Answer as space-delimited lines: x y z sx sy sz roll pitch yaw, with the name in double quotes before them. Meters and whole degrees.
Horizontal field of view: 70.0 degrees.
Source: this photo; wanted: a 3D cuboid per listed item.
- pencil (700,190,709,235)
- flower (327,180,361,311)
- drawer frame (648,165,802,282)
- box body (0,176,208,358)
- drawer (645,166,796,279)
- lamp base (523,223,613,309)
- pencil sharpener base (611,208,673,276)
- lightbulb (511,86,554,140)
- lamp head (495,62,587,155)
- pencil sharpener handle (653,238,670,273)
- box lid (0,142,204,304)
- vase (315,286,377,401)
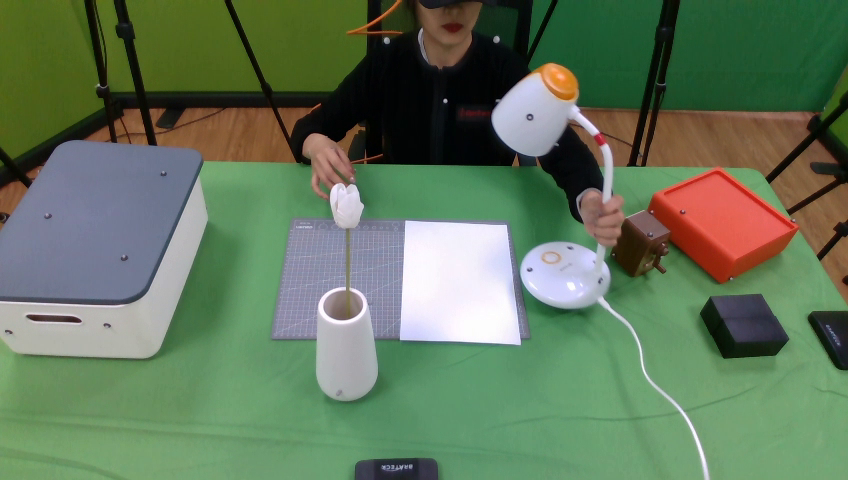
"pencil" 0.583 -0.058 1.257 0.012 0.012 0.193 16 35 12
"flower" -0.110 0.086 0.867 0.044 0.363 0.038 22 33 35
"drawer frame" 0.603 -0.040 1.233 0.202 0.083 0.212 -21 51 -23
"box body" -0.546 0.017 1.045 0.254 0.161 0.361 2 46 -2
"drawer" 0.600 -0.040 1.236 0.195 0.073 0.210 -21 52 -23
"lamp base" 0.266 0.012 1.043 0.160 0.181 0.178 -34 54 -28
"pencil sharpener base" 0.416 0.007 1.158 0.061 0.107 0.076 -21 51 -22
"lightbulb" 0.172 -0.199 0.940 0.059 0.108 0.059 5 63 -10
"lamp head" 0.185 -0.204 0.919 0.113 0.123 0.112 12 60 -22
"pencil sharpener handle" 0.444 0.030 1.120 0.036 0.068 0.030 -25 52 -17
"box lid" -0.534 -0.044 0.995 0.263 0.015 0.369 3 45 -3
"vase" -0.119 0.159 0.911 0.098 0.201 0.097 2 47 -2
